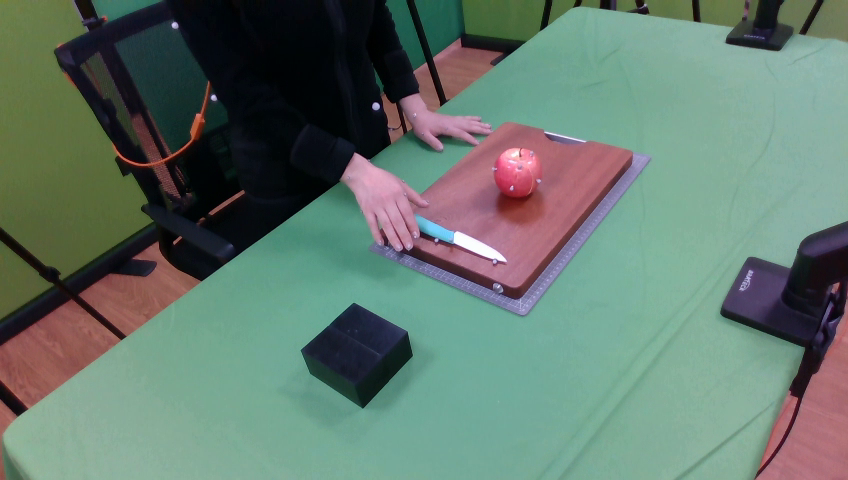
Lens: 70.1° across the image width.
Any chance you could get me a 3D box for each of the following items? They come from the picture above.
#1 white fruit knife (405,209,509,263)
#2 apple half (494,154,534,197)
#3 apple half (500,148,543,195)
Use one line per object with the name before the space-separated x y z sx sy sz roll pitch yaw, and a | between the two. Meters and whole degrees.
white fruit knife | 0.046 -0.005 0.944 0.205 0.016 0.027 24 63 32
apple half | 0.140 -0.098 0.989 0.080 0.081 0.033 27 50 35
apple half | 0.166 -0.118 1.010 0.080 0.075 0.053 23 46 38
